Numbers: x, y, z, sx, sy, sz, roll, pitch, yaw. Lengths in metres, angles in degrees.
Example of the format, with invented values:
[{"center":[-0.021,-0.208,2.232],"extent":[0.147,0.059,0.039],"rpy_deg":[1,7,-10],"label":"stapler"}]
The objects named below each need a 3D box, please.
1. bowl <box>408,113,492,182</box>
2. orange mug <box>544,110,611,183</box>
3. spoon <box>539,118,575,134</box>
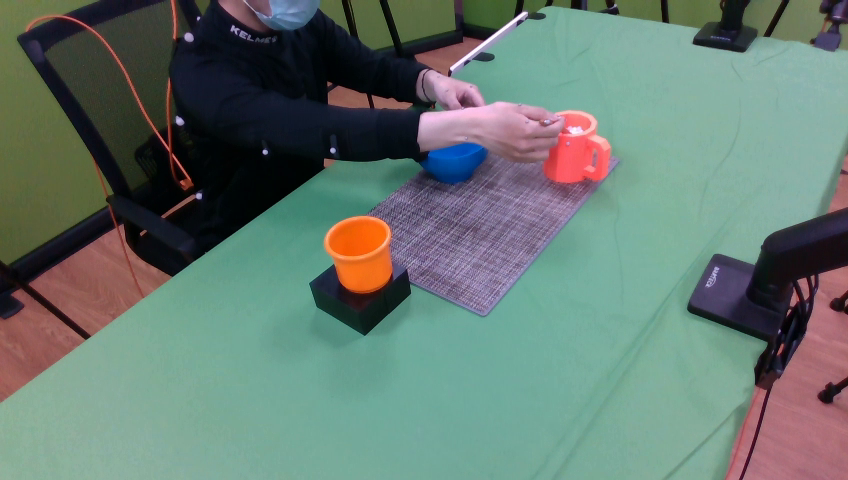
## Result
[{"center":[0.050,-0.158,1.097],"extent":[0.151,0.077,0.150],"rpy_deg":[-4,40,4],"label":"bowl"},{"center":[0.266,-0.157,1.049],"extent":[0.084,0.101,0.125],"rpy_deg":[-33,42,-26],"label":"orange mug"},{"center":[0.224,-0.183,0.991],"extent":[0.041,0.021,0.195],"rpy_deg":[32,13,26],"label":"spoon"}]
